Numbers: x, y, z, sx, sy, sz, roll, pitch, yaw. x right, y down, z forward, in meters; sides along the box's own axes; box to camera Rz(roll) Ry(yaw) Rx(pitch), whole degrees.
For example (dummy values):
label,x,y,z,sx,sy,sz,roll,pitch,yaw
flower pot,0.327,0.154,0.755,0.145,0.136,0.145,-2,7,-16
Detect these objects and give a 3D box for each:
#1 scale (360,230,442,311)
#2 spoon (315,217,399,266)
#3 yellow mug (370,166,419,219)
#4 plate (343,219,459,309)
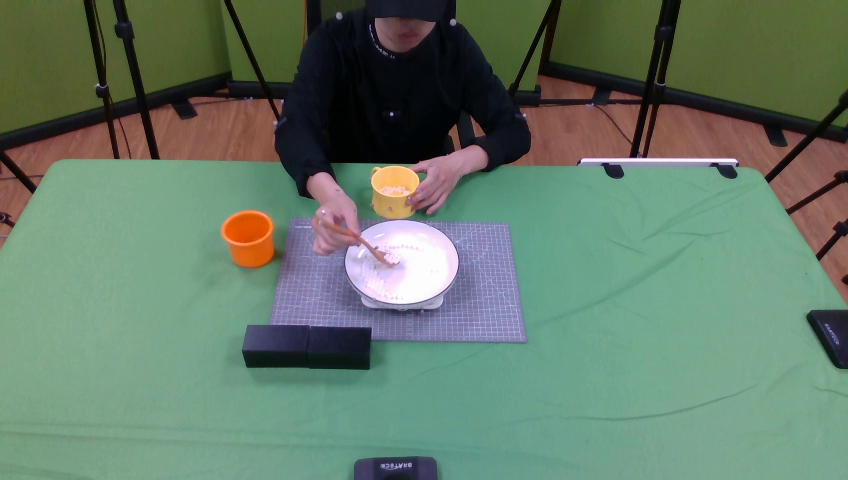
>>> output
label,x,y,z,sx,sy,sz,roll,pitch,yaw
scale,-0.043,0.048,1.138,0.149,0.032,0.199,2,46,-3
spoon,-0.111,0.001,1.034,0.021,0.195,0.041,-45,44,9
yellow mug,-0.072,-0.108,1.268,0.100,0.064,0.130,-30,54,-29
plate,-0.041,0.046,1.094,0.209,0.038,0.208,2,46,-2
